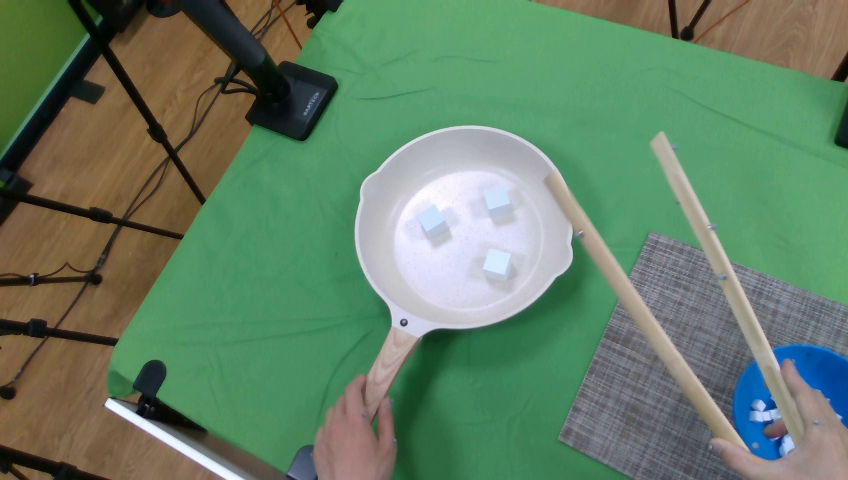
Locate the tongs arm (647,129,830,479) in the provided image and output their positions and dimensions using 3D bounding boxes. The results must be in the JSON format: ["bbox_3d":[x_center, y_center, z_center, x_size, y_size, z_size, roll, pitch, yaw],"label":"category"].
[{"bbox_3d":[0.298,0.061,0.604,0.051,0.026,0.382,-17,74,-18],"label":"tongs arm"}]

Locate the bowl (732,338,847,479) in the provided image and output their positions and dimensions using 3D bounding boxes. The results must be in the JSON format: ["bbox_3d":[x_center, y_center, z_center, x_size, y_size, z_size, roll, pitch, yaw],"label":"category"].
[{"bbox_3d":[0.413,0.190,0.668,0.151,0.077,0.150,-4,69,10],"label":"bowl"}]

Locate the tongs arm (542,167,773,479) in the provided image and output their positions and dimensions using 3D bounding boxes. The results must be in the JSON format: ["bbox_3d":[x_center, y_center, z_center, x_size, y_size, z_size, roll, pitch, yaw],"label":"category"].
[{"bbox_3d":[0.230,0.087,0.582,0.028,0.028,0.385,-28,77,-24],"label":"tongs arm"}]

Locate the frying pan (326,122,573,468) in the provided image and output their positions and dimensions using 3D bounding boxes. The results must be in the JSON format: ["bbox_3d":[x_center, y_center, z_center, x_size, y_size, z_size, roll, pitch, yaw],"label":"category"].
[{"bbox_3d":[0.005,0.064,0.787,0.305,0.103,0.486,23,67,19],"label":"frying pan"}]
